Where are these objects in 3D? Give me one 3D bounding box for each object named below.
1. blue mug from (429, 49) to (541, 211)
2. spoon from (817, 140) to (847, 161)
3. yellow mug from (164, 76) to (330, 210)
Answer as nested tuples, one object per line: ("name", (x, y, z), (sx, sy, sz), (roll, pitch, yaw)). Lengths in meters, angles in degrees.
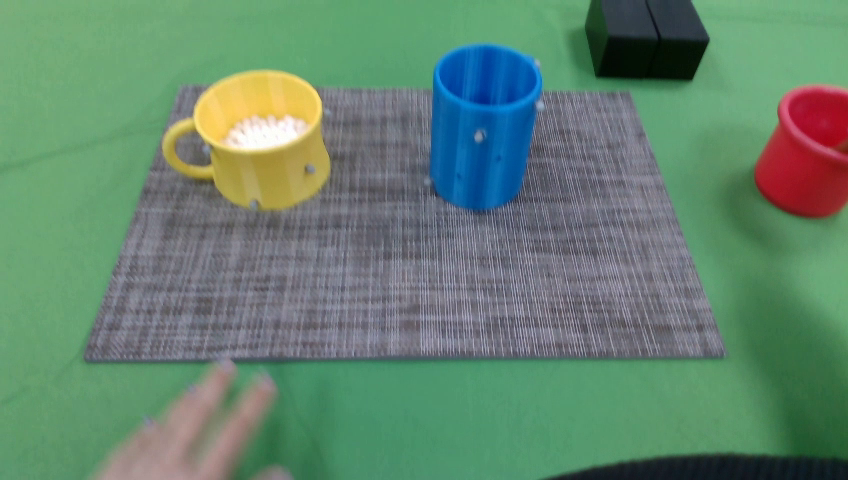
("blue mug", (0.057, -0.097, 0.504), (0.081, 0.107, 0.116), (37, 58, 25))
("spoon", (0.333, -0.088, 0.438), (0.041, 0.195, 0.021), (-9, 77, 15))
("yellow mug", (-0.147, -0.079, 0.504), (0.131, 0.064, 0.099), (-12, 52, -11))
